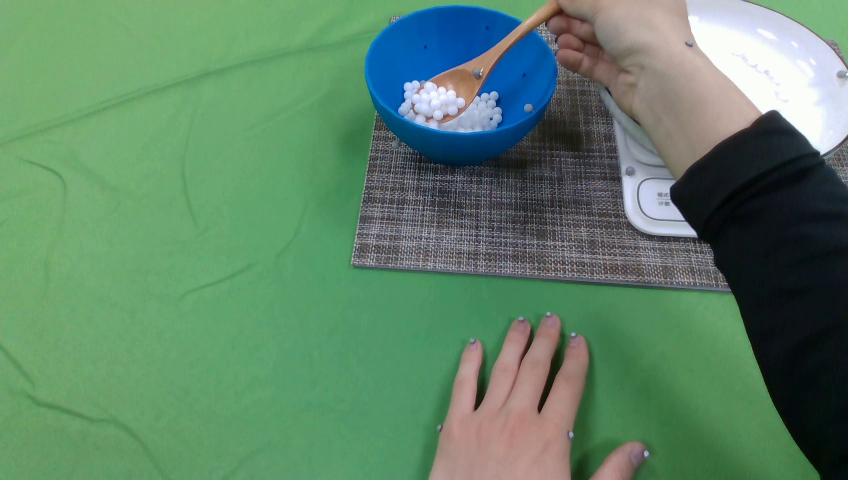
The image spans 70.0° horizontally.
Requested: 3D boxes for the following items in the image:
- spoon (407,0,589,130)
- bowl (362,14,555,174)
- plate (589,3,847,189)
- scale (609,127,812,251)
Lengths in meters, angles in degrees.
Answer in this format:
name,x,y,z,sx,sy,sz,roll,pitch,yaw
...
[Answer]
name,x,y,z,sx,sy,sz,roll,pitch,yaw
spoon,0.069,-0.146,0.454,0.194,0.022,0.041,-36,66,12
bowl,0.026,-0.108,0.501,0.151,0.077,0.150,0,55,0
plate,0.237,-0.119,0.501,0.209,0.038,0.207,1,56,-1
scale,0.235,-0.082,0.516,0.148,0.032,0.199,3,56,2
